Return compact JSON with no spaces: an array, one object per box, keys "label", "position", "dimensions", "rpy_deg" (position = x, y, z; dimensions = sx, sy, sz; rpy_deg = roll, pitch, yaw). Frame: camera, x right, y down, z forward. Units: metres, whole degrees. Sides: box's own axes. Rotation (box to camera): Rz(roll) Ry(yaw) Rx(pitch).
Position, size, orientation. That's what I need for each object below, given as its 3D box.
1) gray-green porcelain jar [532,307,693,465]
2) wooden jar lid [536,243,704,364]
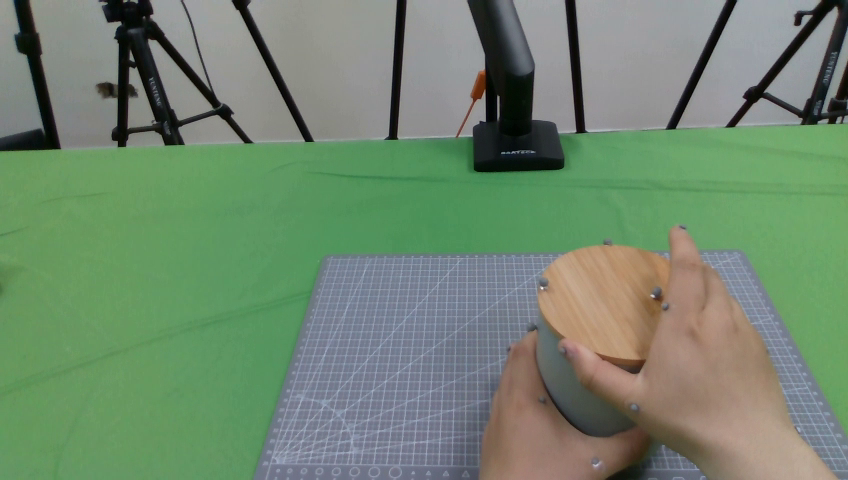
[{"label":"gray-green porcelain jar","position":[0.133,0.093,0.446],"dimensions":[0.106,0.127,0.105],"rpy_deg":[-3,38,3]},{"label":"wooden jar lid","position":[0.129,0.044,0.408],"dimensions":[0.108,0.021,0.107],"rpy_deg":[-4,39,3]}]
